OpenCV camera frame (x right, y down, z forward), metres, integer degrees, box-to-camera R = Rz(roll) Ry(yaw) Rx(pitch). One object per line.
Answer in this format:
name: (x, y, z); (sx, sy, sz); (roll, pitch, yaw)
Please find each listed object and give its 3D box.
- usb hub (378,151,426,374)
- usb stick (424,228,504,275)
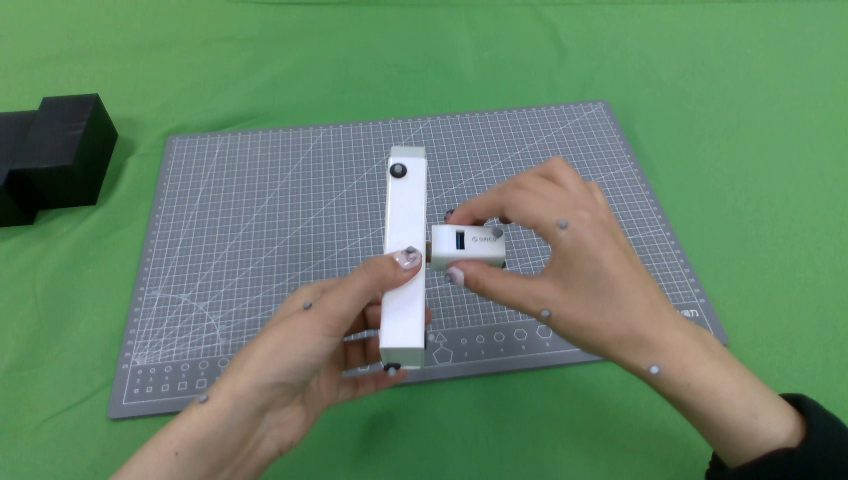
usb hub: (-0.012, 0.012, 0.358); (0.025, 0.050, 0.124); (1, 65, 0)
usb stick: (0.018, 0.007, 0.364); (0.059, 0.027, 0.021); (-1, 65, 3)
